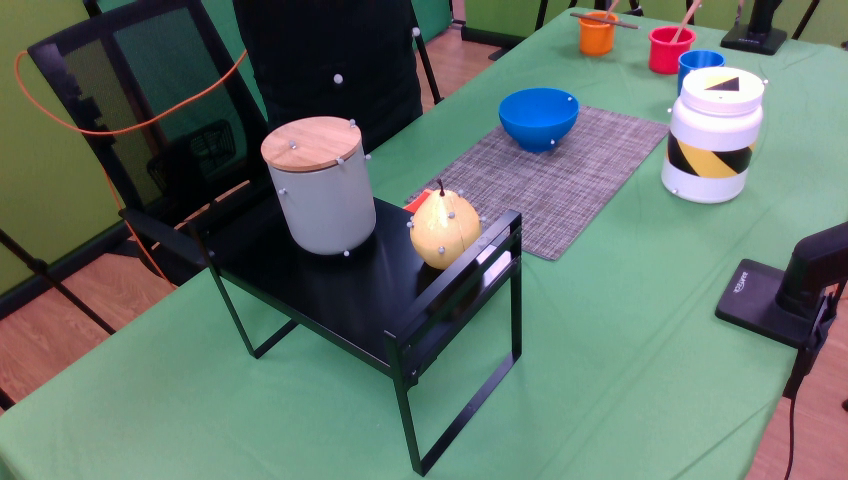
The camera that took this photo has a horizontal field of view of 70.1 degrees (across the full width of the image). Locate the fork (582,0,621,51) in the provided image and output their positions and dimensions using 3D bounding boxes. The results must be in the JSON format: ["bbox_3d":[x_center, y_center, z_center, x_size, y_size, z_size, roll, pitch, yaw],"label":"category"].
[{"bbox_3d":[0.446,-0.539,1.438,0.207,0.019,0.028,-57,36,12],"label":"fork"}]

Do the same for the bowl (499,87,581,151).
[{"bbox_3d":[0.220,-0.223,1.156,0.151,0.077,0.150,-4,40,4],"label":"bowl"}]

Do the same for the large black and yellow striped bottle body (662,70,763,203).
[{"bbox_3d":[0.464,-0.166,0.976,0.131,0.185,0.130,-5,41,5],"label":"large black and yellow striped bottle body"}]

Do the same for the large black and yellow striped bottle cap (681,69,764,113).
[{"bbox_3d":[0.453,-0.229,0.921,0.115,0.019,0.114,-4,39,4],"label":"large black and yellow striped bottle cap"}]

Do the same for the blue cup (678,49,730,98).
[{"bbox_3d":[0.542,-0.310,1.194,0.092,0.101,0.092,-6,41,6],"label":"blue cup"}]

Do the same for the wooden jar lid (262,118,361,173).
[{"bbox_3d":[-0.122,-0.101,0.663,0.108,0.021,0.108,-3,39,3],"label":"wooden jar lid"}]

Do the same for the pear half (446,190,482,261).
[{"bbox_3d":[0.046,-0.020,0.665,0.031,0.088,0.070,-17,38,-8],"label":"pear half"}]

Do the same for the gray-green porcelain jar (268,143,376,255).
[{"bbox_3d":[-0.114,-0.055,0.704,0.106,0.127,0.105,-4,40,4],"label":"gray-green porcelain jar"}]

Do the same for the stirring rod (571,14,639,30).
[{"bbox_3d":[0.418,-0.508,1.404,0.174,0.006,0.014,28,55,35],"label":"stirring rod"}]

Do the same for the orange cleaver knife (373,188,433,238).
[{"bbox_3d":[-0.023,-0.030,0.959,0.210,0.077,0.012,-16,24,52],"label":"orange cleaver knife"}]

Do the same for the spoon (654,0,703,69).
[{"bbox_3d":[0.569,-0.462,1.335,0.041,0.022,0.193,34,99,37],"label":"spoon"}]

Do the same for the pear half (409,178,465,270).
[{"bbox_3d":[0.010,-0.019,0.654,0.056,0.110,0.076,-17,37,-9],"label":"pear half"}]
